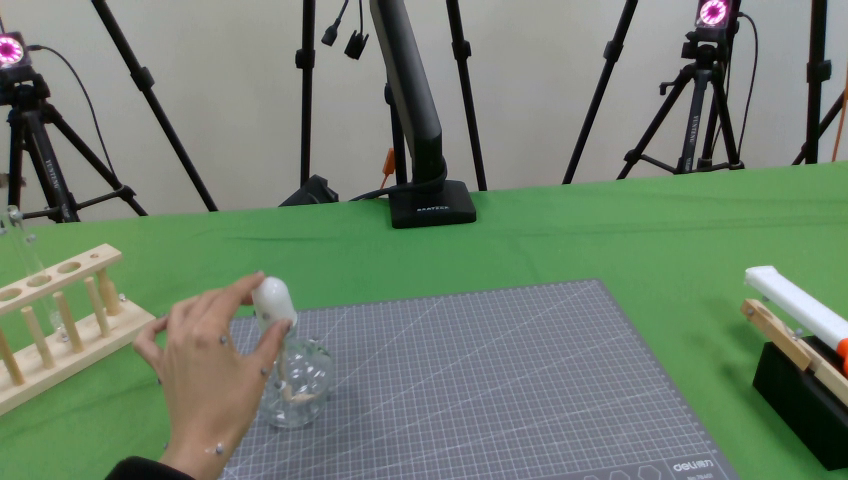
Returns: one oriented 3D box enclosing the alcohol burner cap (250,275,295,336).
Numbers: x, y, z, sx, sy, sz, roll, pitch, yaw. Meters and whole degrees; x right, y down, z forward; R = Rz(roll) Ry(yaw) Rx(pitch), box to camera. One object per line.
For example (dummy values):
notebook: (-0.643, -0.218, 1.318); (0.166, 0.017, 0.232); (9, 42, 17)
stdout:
alcohol burner cap: (-0.124, 0.050, 0.486); (0.034, 0.048, 0.033); (-1, 40, 1)

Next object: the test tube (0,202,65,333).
test tube: (-0.377, 0.031, 0.587); (0.017, 0.151, 0.017); (-1, 33, 1)

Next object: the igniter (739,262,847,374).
igniter: (0.361, 0.092, 0.506); (0.057, 0.025, 0.274); (-7, 27, -7)

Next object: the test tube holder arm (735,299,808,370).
test tube holder arm: (0.307, 0.082, 0.534); (0.010, 0.015, 0.087); (-9, 30, -10)

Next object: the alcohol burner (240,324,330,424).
alcohol burner: (-0.121, 0.099, 0.522); (0.078, 0.120, 0.077); (-1, 29, 1)

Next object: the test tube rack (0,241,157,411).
test tube rack: (-0.392, 0.095, 0.577); (0.066, 0.086, 0.242); (21, 37, 33)

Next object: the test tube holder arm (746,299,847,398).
test tube holder arm: (0.324, 0.102, 0.498); (0.013, 0.015, 0.176); (-10, 30, -12)
